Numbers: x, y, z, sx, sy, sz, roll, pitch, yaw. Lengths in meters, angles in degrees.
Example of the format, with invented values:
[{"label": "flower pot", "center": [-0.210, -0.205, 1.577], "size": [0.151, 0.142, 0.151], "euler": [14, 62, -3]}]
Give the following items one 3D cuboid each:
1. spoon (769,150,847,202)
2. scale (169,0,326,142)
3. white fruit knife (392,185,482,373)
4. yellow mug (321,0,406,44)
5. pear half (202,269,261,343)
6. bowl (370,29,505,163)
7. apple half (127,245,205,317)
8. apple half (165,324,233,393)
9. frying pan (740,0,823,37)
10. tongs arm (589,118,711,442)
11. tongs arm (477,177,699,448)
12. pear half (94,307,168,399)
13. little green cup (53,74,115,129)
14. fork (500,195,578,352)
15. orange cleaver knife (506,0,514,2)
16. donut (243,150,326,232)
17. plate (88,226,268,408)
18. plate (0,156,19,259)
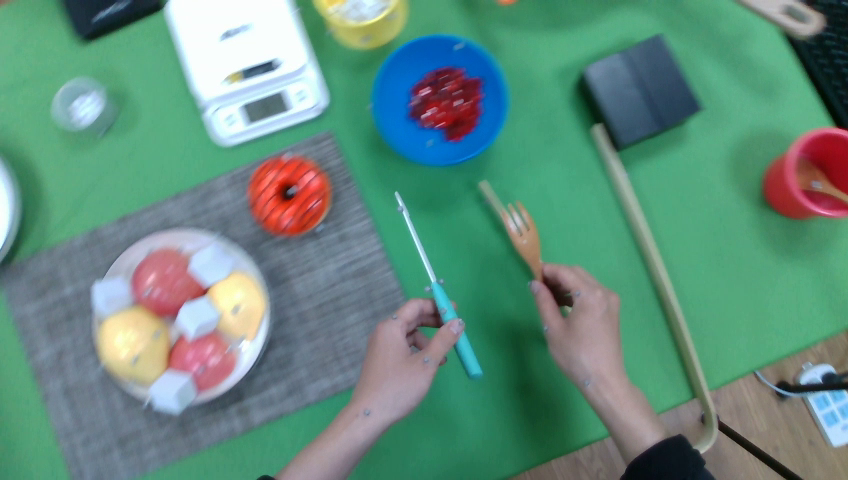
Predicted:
[{"label": "spoon", "center": [0.448, -0.044, 0.646], "size": [0.041, 0.022, 0.191], "euler": [-29, 40, -1]}, {"label": "scale", "center": [-0.217, -0.234, 0.745], "size": [0.149, 0.031, 0.200], "euler": [-19, 85, 1]}, {"label": "white fruit knife", "center": [0.011, 0.042, 0.593], "size": [0.016, 0.027, 0.208], "euler": [-23, 98, 10]}, {"label": "yellow mug", "center": [-0.086, -0.305, 0.729], "size": [0.130, 0.064, 0.100], "euler": [34, 87, 6]}, {"label": "pear half", "center": [-0.228, 0.078, 0.702], "size": [0.070, 0.031, 0.087], "euler": [-22, 82, 14]}, {"label": "bowl", "center": [0.017, -0.157, 0.706], "size": [0.151, 0.077, 0.151], "euler": [0, 85, 2]}, {"label": "apple half", "center": [-0.304, 0.048, 0.697], "size": [0.074, 0.053, 0.080], "euler": [-36, 87, 1]}, {"label": "apple half", "center": [-0.266, 0.138, 0.695], "size": [0.081, 0.033, 0.081], "euler": [-1, 78, 4]}, {"label": "frying pan", "center": [0.237, -0.374, 0.705], "size": [0.485, 0.103, 0.306], "euler": [39, 88, 13]}, {"label": "tongs arm", "center": [0.259, 0.040, 0.704], "size": [0.028, 0.028, 0.386], "euler": [-17, 84, -8]}, {"label": "tongs arm", "center": [0.185, 0.077, 0.699], "size": [0.051, 0.026, 0.384], "euler": [-32, 85, -6]}, {"label": "pear half", "center": [-0.327, 0.131, 0.686], "size": [0.076, 0.056, 0.109], "euler": [-30, 88, -9]}, {"label": "little green cup", "center": [-0.414, -0.167, 0.743], "size": [0.061, 0.039, 0.061], "euler": [0, 84, 3]}, {"label": "fork", "center": [0.124, 0.042, 0.620], "size": [0.028, 0.018, 0.209], "euler": [-35, 122, -12]}, {"label": "orange cleaver knife", "center": [0.060, -0.370, 0.692], "size": [0.077, 0.012, 0.211], "euler": [-33, 85, -3]}, {"label": "donut", "center": [-0.165, -0.058, 0.716], "size": [0.099, 0.048, 0.099], "euler": [0, 86, 5]}, {"label": "plate", "center": [-0.282, 0.088, 0.709], "size": [0.209, 0.038, 0.208], "euler": [0, 84, 2]}, {"label": "plate", "center": [-0.590, -0.033, 0.737], "size": [0.207, 0.039, 0.207], "euler": [0, 84, 2]}]
